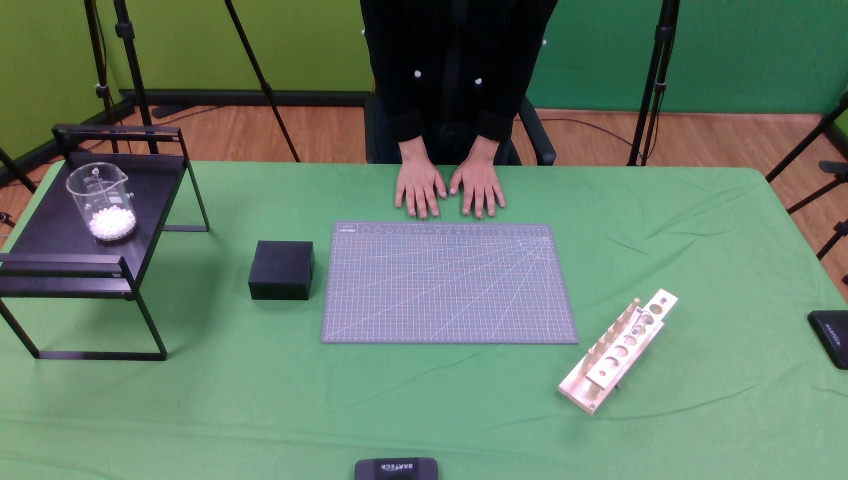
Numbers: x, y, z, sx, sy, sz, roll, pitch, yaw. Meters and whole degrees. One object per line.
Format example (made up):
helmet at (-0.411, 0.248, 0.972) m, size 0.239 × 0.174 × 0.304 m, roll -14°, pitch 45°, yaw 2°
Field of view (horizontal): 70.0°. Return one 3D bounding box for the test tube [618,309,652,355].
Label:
test tube at (0.328, 0.155, 0.955) m, size 0.017 × 0.151 × 0.017 m, roll 1°, pitch 50°, yaw -1°

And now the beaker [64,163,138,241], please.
beaker at (-0.478, -0.055, 0.910) m, size 0.084 × 0.101 × 0.073 m, roll -9°, pitch 48°, yaw -13°

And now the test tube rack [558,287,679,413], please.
test tube rack at (0.326, 0.170, 1.009) m, size 0.066 × 0.085 × 0.242 m, roll 35°, pitch 54°, yaw 26°
